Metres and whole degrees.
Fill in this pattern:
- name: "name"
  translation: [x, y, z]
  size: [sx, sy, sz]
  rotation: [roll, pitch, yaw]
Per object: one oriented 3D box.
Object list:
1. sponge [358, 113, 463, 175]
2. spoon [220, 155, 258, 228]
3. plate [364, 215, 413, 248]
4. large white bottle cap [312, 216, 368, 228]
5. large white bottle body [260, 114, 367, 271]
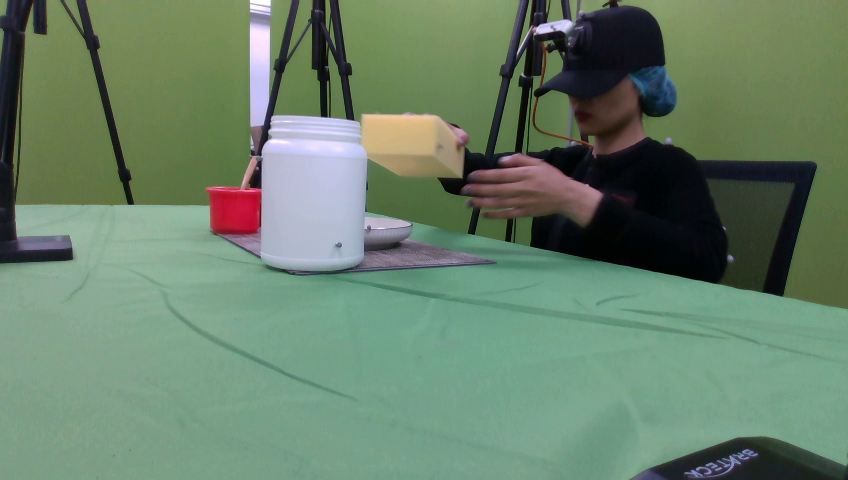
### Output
- name: "sponge"
  translation: [-0.015, -0.151, 0.980]
  size: [0.118, 0.061, 0.207]
  rotation: [4, -2, 15]
- name: "spoon"
  translation: [-0.325, -0.090, 1.091]
  size: [0.041, 0.021, 0.193]
  rotation: [3, 51, 3]
- name: "plate"
  translation: [-0.122, -0.015, 0.984]
  size: [0.209, 0.038, 0.209]
  rotation: [2, 7, 0]
- name: "large white bottle cap"
  translation: [-0.171, -0.038, 1.234]
  size: [0.115, 0.018, 0.115]
  rotation: [2, 5, 0]
- name: "large white bottle body"
  translation: [-0.139, -0.062, 0.763]
  size: [0.131, 0.184, 0.130]
  rotation: [3, 8, 0]
